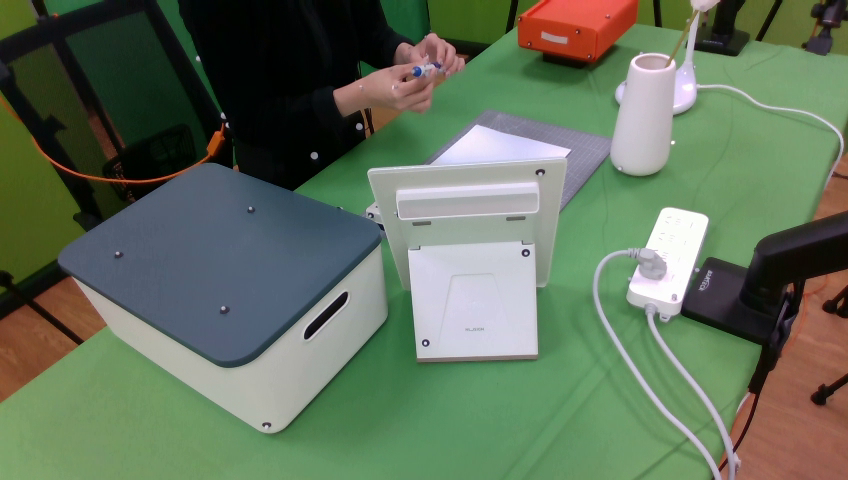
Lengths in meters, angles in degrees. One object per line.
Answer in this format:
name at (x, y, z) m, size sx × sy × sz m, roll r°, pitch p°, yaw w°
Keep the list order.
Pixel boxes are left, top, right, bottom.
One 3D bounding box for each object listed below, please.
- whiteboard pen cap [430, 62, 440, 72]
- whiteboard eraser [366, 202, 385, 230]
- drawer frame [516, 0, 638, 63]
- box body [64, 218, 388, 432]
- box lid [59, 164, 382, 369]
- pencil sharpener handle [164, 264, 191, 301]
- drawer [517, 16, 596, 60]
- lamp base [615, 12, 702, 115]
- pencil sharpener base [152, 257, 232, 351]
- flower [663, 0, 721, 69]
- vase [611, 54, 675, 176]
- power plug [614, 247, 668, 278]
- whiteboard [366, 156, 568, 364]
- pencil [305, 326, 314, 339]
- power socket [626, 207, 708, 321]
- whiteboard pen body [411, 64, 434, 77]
whiteboard pen cap at (0.018, -0.296, 1.036) m, size 0.018 × 0.018 × 0.033 m, roll 1°, pitch 17°, yaw 10°
whiteboard eraser at (-0.038, -0.038, 1.006) m, size 0.112 × 0.042 × 0.055 m, roll 16°, pitch 47°, yaw 25°
drawer frame at (0.355, -0.508, 1.411) m, size 0.200 × 0.083 × 0.214 m, roll 23°, pitch 51°, yaw 32°
box body at (-0.256, 0.065, 0.827) m, size 0.361 × 0.161 × 0.255 m, roll 20°, pitch 48°, yaw 29°
box lid at (-0.263, 0.010, 0.777) m, size 0.368 × 0.015 × 0.264 m, roll 20°, pitch 47°, yaw 29°
pencil sharpener handle at (-0.354, 0.055, 0.866) m, size 0.036 × 0.068 × 0.030 m, roll -16°, pitch 39°, yaw -29°
drawer at (0.353, -0.506, 1.405) m, size 0.193 × 0.073 × 0.212 m, roll 23°, pitch 49°, yaw 32°
lamp base at (0.484, -0.364, 1.211) m, size 0.180 × 0.181 × 0.159 m, roll -15°, pitch 41°, yaw -14°
pencil sharpener base at (-0.322, 0.088, 0.842) m, size 0.061 × 0.107 × 0.076 m, roll -27°, pitch 44°, yaw -20°
flower at (0.379, -0.261, 0.965) m, size 0.044 × 0.362 × 0.038 m, roll 20°, pitch 53°, yaw 5°
vase at (0.377, -0.209, 1.031) m, size 0.098 × 0.201 × 0.097 m, roll -4°, pitch 40°, yaw 3°
power plug at (0.306, 0.031, 0.851) m, size 0.072 × 0.053 × 0.035 m, roll 24°, pitch 49°, yaw 33°
whiteboard at (0.059, 0.050, 0.738) m, size 0.217 × 0.307 × 0.143 m, roll -2°, pitch 60°, yaw 6°
pencil at (-0.187, 0.105, 0.879) m, size 0.012 × 0.012 × 0.192 m, roll -27°, pitch 42°, yaw -22°
power socket at (0.359, 0.025, 0.886) m, size 0.072 × 0.033 × 0.227 m, roll 16°, pitch 46°, yaw 26°
whiteboard pen body at (0.002, -0.270, 0.961) m, size 0.017 × 0.017 × 0.141 m, roll 3°, pitch 18°, yaw 11°
